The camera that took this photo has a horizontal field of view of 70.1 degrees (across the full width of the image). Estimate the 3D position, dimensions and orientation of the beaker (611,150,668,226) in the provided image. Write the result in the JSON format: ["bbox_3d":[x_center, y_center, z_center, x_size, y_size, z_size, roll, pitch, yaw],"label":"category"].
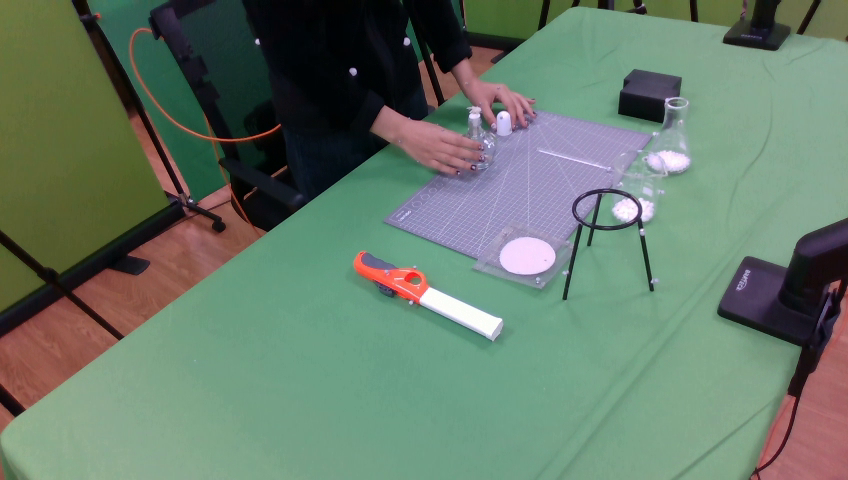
[{"bbox_3d":[0.337,-0.079,0.953,0.083,0.101,0.074,25,51,33],"label":"beaker"}]

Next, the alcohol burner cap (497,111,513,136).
[{"bbox_3d":[0.162,-0.235,1.212,0.034,0.048,0.033,-6,41,6],"label":"alcohol burner cap"}]

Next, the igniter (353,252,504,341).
[{"bbox_3d":[-0.005,0.077,0.889,0.274,0.025,0.057,23,60,33],"label":"igniter"}]

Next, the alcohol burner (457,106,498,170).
[{"bbox_3d":[0.097,-0.191,1.117,0.078,0.119,0.077,-7,39,6],"label":"alcohol burner"}]

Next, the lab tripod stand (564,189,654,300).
[{"bbox_3d":[0.251,0.003,0.845,0.148,0.132,0.147,-7,39,6],"label":"lab tripod stand"}]

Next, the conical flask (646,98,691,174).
[{"bbox_3d":[0.426,-0.180,1.037,0.075,0.122,0.075,-5,40,5],"label":"conical flask"}]

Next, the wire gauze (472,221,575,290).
[{"bbox_3d":[0.158,0.024,0.933,0.120,0.011,0.125,21,49,31],"label":"wire gauze"}]

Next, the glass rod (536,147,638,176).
[{"bbox_3d":[0.294,-0.145,1.104,0.198,0.008,0.008,22,50,31],"label":"glass rod"}]
